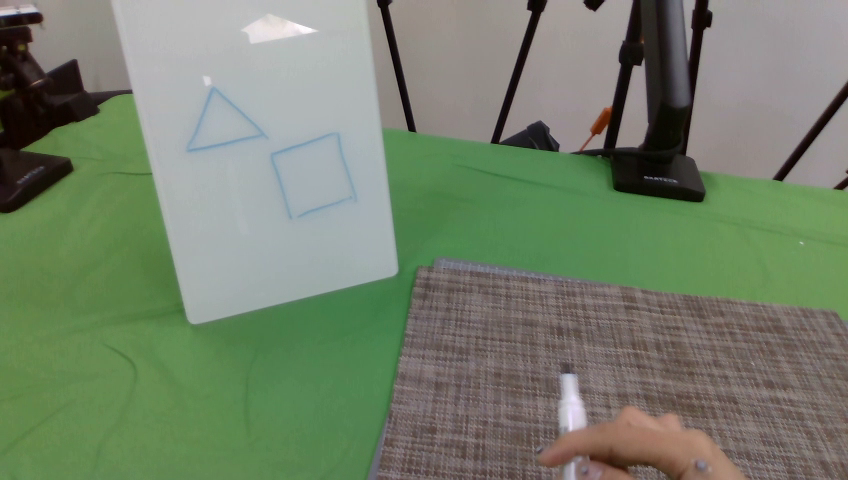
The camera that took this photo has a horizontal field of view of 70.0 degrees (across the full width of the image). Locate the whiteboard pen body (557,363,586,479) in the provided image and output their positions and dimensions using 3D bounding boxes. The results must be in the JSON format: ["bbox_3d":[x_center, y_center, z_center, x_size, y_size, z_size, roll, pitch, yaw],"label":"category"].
[{"bbox_3d":[0.079,0.134,0.323,0.017,0.017,0.139,5,63,2],"label":"whiteboard pen body"}]

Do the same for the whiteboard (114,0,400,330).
[{"bbox_3d":[-0.164,-0.098,0.627,0.218,0.307,0.142,-13,19,-21],"label":"whiteboard"}]
